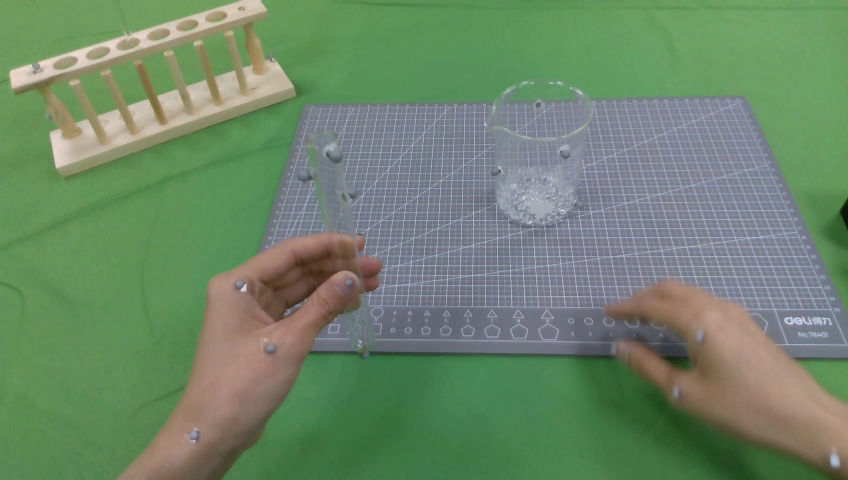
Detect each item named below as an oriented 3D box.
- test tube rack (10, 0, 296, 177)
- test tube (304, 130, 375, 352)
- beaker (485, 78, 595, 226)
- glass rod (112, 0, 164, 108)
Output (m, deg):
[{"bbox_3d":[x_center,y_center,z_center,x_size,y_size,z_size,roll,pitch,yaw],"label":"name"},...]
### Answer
[{"bbox_3d":[-0.262,-0.156,0.610,0.242,0.086,0.066,-24,51,-16],"label":"test tube rack"},{"bbox_3d":[-0.043,0.009,0.331,0.017,0.151,0.017,-3,40,3],"label":"test tube"},{"bbox_3d":[0.090,-0.066,0.491,0.084,0.101,0.073,-13,49,-6],"label":"beaker"},{"bbox_3d":[-0.277,-0.199,0.560,0.008,0.201,0.008,0,51,0],"label":"glass rod"}]
